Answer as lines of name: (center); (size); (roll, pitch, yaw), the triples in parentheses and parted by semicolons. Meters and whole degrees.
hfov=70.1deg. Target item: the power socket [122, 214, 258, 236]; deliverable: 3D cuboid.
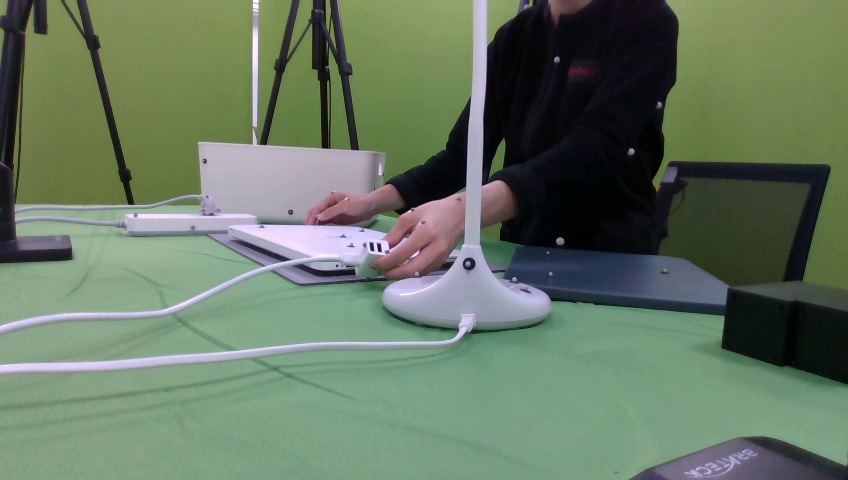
power socket: (-0.399, -0.028, 1.049); (0.228, 0.032, 0.072); (-3, 8, -34)

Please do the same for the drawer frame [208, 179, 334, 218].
drawer frame: (-0.327, -0.093, 1.328); (0.213, 0.082, 0.202); (0, 5, 6)

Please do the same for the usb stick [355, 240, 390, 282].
usb stick: (-0.059, 0.026, 0.664); (0.027, 0.059, 0.021); (4, 51, -22)

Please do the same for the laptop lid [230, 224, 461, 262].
laptop lid: (-0.119, 0.000, 0.889); (0.243, 0.013, 0.355); (1, 7, -33)

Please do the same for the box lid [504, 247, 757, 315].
box lid: (0.244, 0.044, 0.793); (0.263, 0.015, 0.372); (4, 7, 10)

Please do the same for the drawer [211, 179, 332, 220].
drawer: (-0.328, -0.095, 1.332); (0.212, 0.073, 0.194); (5, 8, 6)

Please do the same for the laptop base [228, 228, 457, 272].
laptop base: (-0.122, 0.012, 0.889); (0.237, 0.023, 0.352); (2, 6, -35)

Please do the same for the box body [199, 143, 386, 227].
box body: (-0.276, -0.124, 1.335); (0.364, 0.160, 0.254); (3, 7, 1)

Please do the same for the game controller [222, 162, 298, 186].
game controller: (-0.357, -0.143, 1.321); (0.156, 0.051, 0.097); (1, 2, -16)

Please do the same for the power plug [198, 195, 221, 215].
power plug: (-0.387, -0.055, 1.089); (0.035, 0.052, 0.072); (-1, 6, -22)

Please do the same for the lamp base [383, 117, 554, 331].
lamp base: (0.045, -0.019, 0.547); (0.161, 0.180, 0.179); (2, 10, -4)
